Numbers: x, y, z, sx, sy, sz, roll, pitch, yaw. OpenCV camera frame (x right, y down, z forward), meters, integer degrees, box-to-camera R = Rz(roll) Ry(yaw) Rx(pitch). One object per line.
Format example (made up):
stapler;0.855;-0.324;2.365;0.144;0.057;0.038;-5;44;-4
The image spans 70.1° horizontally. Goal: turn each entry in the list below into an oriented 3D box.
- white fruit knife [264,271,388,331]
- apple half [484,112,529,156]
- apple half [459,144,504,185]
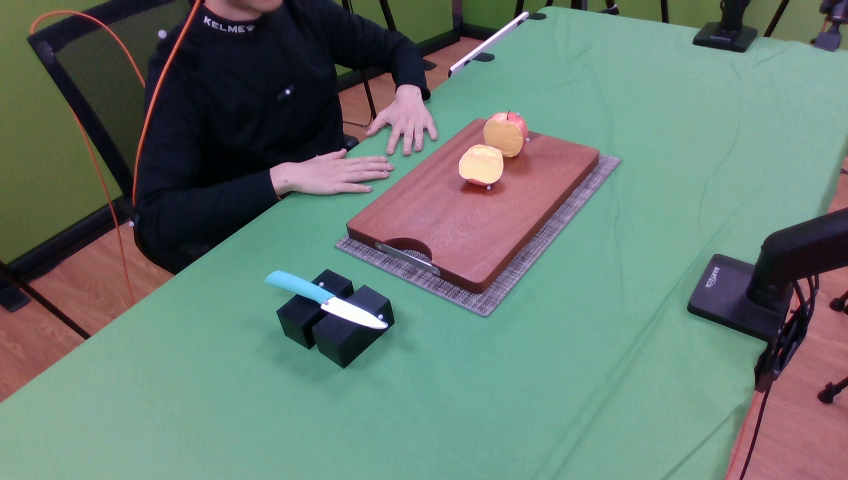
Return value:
white fruit knife;-0.134;0.082;0.824;0.206;0.016;0.027;20;71;25
apple half;0.154;-0.195;1.090;0.080;0.075;0.053;13;40;28
apple half;0.102;-0.125;1.040;0.081;0.033;0.081;-3;65;7
